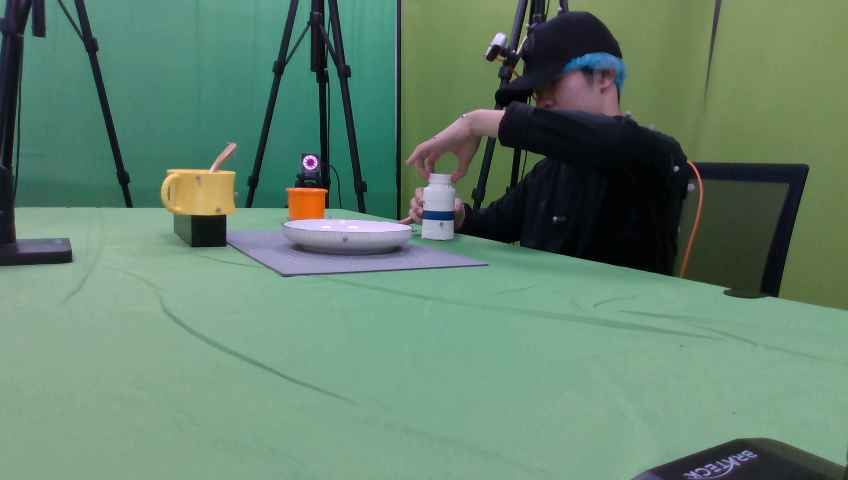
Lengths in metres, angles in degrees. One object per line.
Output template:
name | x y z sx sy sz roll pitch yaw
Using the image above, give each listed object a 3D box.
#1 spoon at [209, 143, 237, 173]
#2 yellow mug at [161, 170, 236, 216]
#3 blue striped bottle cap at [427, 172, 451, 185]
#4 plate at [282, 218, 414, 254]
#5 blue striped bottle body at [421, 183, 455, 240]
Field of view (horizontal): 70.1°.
spoon | -0.341 -0.113 0.990 0.041 0.021 0.193 1 39 7
yellow mug | -0.354 -0.074 0.935 0.099 0.064 0.131 5 9 21
blue striped bottle cap | 0.029 -0.117 1.150 0.044 0.020 0.044 6 8 -1
plate | -0.121 -0.007 0.971 0.208 0.039 0.207 2 7 0
blue striped bottle body | 0.027 -0.062 1.157 0.063 0.120 0.063 2 7 0
